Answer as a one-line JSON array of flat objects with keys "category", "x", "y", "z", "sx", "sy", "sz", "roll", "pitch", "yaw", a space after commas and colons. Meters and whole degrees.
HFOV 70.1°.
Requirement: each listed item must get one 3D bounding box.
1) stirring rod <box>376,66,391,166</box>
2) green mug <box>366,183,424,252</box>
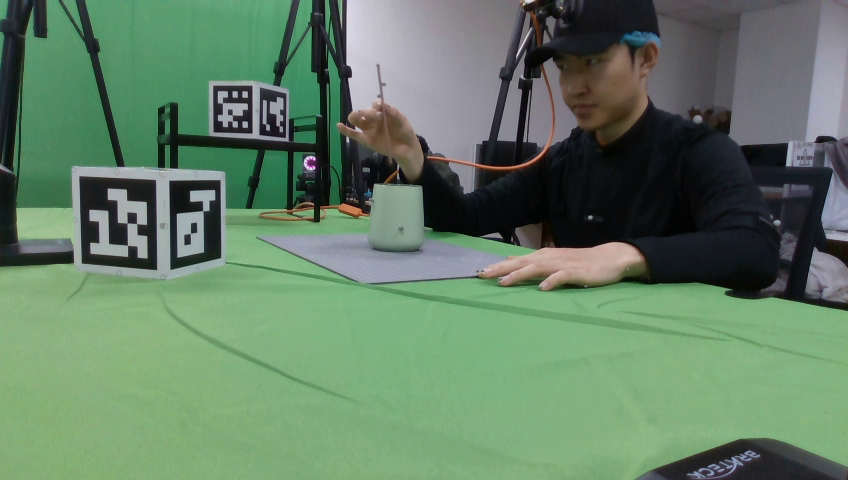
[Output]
[{"category": "stirring rod", "x": -0.069, "y": -0.210, "z": 1.023, "sx": 0.006, "sy": 0.176, "sz": 0.014, "roll": -6, "pitch": -8, "yaw": -7}, {"category": "green mug", "x": -0.054, "y": -0.039, "z": 0.989, "sx": 0.093, "sy": 0.105, "sz": 0.124, "roll": -1, "pitch": 8, "yaw": -29}]
